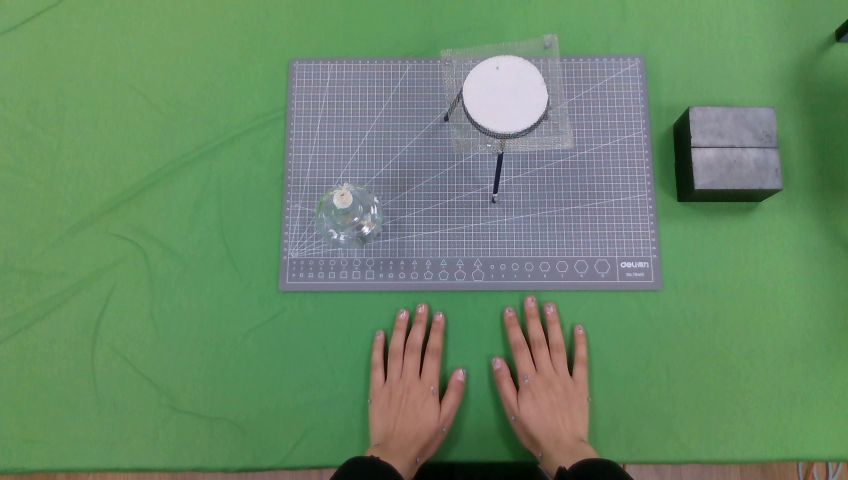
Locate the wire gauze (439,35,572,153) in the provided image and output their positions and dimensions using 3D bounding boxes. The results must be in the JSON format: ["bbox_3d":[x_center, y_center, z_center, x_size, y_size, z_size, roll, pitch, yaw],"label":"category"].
[{"bbox_3d":[0.082,-0.148,0.617,0.125,0.011,0.121,-5,78,-1],"label":"wire gauze"}]

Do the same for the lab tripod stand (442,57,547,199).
[{"bbox_3d":[0.086,-0.136,0.683,0.148,0.132,0.147,0,76,1],"label":"lab tripod stand"}]

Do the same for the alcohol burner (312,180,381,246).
[{"bbox_3d":[-0.088,-0.035,0.674,0.078,0.119,0.077,0,76,-1],"label":"alcohol burner"}]
